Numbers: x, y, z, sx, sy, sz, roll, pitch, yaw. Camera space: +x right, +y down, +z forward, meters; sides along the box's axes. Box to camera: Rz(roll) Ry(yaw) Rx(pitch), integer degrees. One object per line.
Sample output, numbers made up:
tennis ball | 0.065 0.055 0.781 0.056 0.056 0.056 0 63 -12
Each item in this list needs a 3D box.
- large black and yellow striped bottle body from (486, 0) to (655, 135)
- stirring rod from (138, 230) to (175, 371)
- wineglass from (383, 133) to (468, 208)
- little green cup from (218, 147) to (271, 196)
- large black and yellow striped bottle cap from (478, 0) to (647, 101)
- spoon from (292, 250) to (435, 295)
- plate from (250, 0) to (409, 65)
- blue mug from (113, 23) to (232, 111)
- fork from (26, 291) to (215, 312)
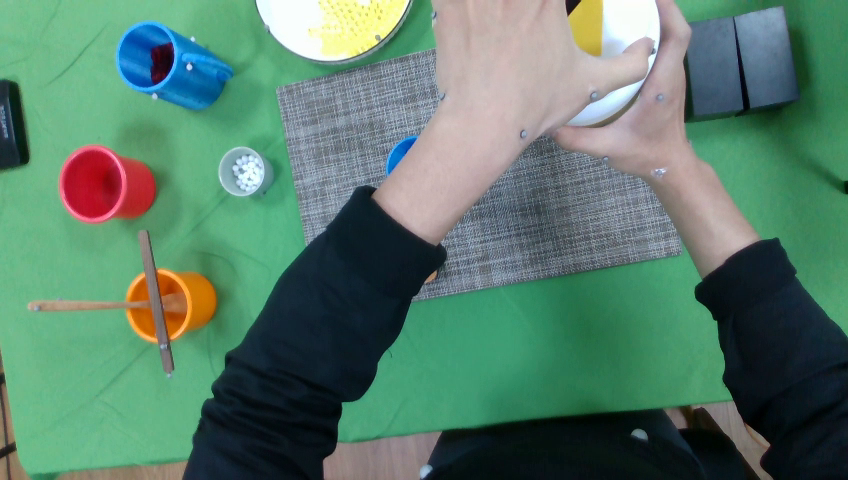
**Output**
large black and yellow striped bottle body | 0.123 -0.162 0.513 0.130 0.184 0.131 1 95 16
stirring rod | -0.328 0.074 0.741 0.014 0.006 0.176 -12 89 11
wineglass | 0.006 -0.071 0.663 0.073 0.172 0.073 0 91 11
little green cup | -0.228 -0.086 0.778 0.061 0.039 0.061 0 92 11
large black and yellow striped bottle cap | 0.093 -0.154 0.419 0.114 0.019 0.115 7 107 23
spoon | -0.079 0.046 0.758 0.193 0.021 0.042 -12 110 11
plate | -0.114 -0.319 0.750 0.209 0.038 0.209 0 92 10
blue mug | -0.300 -0.212 0.753 0.116 0.106 0.082 3 92 10
fork | -0.369 0.079 0.752 0.209 0.018 0.028 2 99 -33
